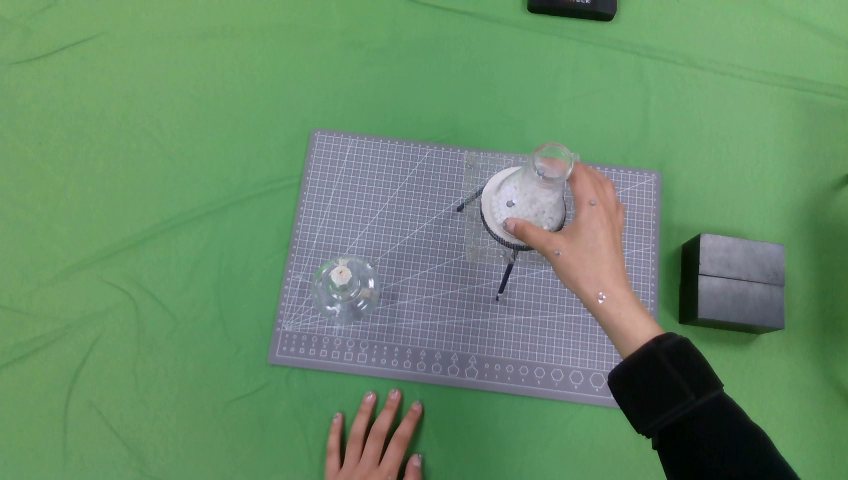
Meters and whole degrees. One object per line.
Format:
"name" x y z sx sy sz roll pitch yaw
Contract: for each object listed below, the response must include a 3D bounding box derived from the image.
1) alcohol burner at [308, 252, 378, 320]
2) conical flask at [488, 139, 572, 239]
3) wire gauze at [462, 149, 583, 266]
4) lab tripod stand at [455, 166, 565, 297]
"alcohol burner" -0.090 0.046 0.667 0.078 0.119 0.077 1 72 -3
"conical flask" 0.103 -0.051 0.560 0.075 0.122 0.075 1 74 -2
"wire gauze" 0.100 -0.036 0.618 0.125 0.011 0.121 2 77 -5
"lab tripod stand" 0.101 -0.020 0.681 0.148 0.132 0.147 1 73 -2
